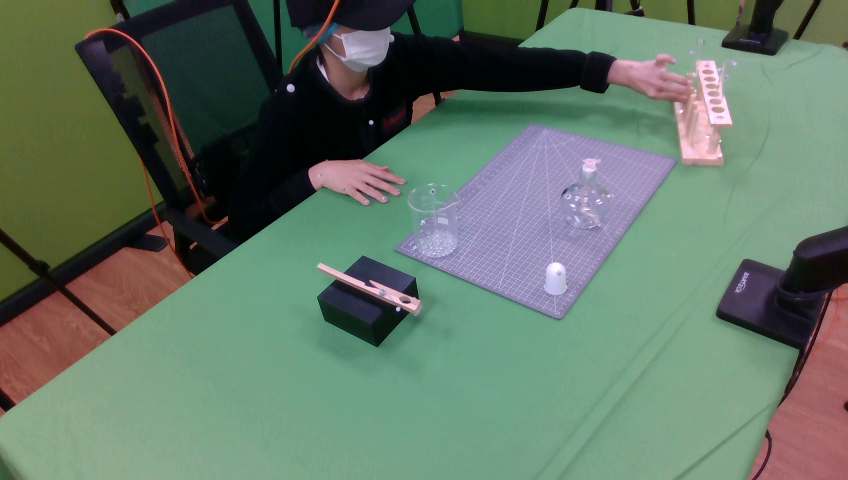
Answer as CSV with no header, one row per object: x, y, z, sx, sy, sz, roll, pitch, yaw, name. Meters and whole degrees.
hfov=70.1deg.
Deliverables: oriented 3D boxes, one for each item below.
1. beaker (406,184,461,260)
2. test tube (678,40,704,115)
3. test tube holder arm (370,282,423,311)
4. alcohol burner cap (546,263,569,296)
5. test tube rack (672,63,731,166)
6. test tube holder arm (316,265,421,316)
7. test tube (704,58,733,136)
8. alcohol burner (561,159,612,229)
0.019,-0.026,0.939,0.084,0.101,0.074,1,41,10,beaker
0.502,-0.303,1.138,0.017,0.151,0.017,-2,42,2,test tube
-0.040,0.076,0.817,0.087,0.015,0.010,18,56,28,test tube holder arm
0.191,0.053,0.862,0.034,0.048,0.033,-5,40,4,alcohol burner cap
0.513,-0.240,1.132,0.066,0.085,0.242,3,41,14,test tube rack
-0.080,0.068,0.836,0.177,0.015,0.013,18,55,28,test tube holder arm
0.516,-0.247,1.062,0.017,0.151,0.017,-3,43,4,test tube
0.257,-0.077,0.951,0.078,0.119,0.077,-3,40,3,alcohol burner
